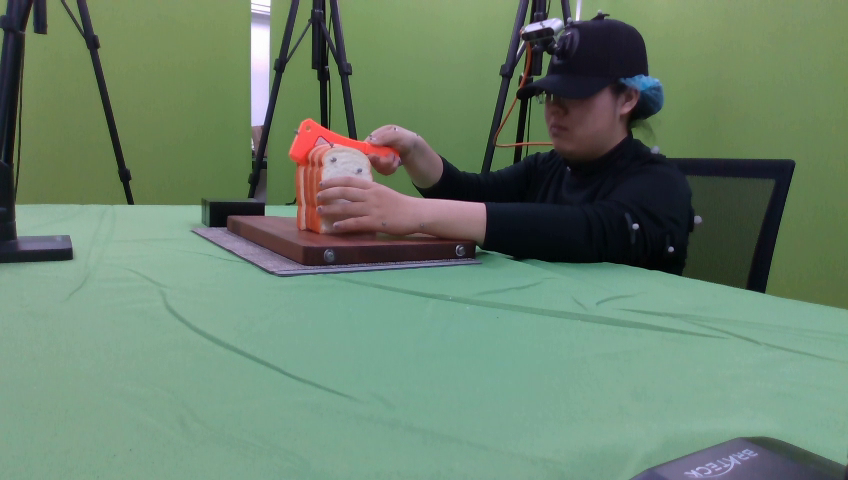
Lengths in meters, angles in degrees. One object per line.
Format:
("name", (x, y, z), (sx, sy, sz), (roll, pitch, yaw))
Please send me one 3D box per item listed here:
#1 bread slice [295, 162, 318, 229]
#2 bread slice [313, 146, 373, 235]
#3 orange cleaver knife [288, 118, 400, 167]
("bread slice", (-0.157, -0.082, 0.957), (0.019, 0.131, 0.105), (-11, -7, 42))
("bread slice", (-0.124, -0.075, 0.920), (0.018, 0.134, 0.107), (6, 10, 44))
("orange cleaver knife", (-0.124, -0.140, 0.977), (0.212, 0.077, 0.012), (7, 9, -44))
